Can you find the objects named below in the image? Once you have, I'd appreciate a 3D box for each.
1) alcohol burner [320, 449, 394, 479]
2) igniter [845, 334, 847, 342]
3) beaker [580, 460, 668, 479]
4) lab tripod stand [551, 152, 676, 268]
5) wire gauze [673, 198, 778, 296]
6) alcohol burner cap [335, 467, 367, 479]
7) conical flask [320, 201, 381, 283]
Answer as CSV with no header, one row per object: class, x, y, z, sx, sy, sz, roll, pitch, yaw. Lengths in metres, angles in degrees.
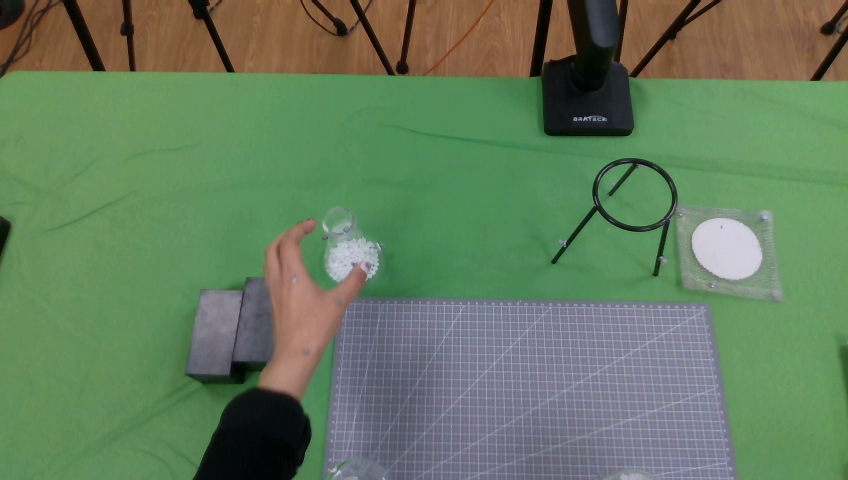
alcohol burner,-0.070,0.249,0.609,0.078,0.120,0.077,-1,66,4
igniter,0.490,0.233,0.650,0.057,0.025,0.274,10,67,-6
beaker,0.195,0.260,0.605,0.084,0.101,0.073,-30,69,-11
lab tripod stand,0.226,-0.029,0.712,0.148,0.132,0.147,-1,69,2
wire gauze,0.378,0.005,0.762,0.125,0.011,0.120,7,68,3
alcohol burner cap,-0.071,0.233,0.576,0.034,0.048,0.033,1,70,-2
conical flask,-0.093,-0.002,0.716,0.075,0.123,0.075,-1,66,2
